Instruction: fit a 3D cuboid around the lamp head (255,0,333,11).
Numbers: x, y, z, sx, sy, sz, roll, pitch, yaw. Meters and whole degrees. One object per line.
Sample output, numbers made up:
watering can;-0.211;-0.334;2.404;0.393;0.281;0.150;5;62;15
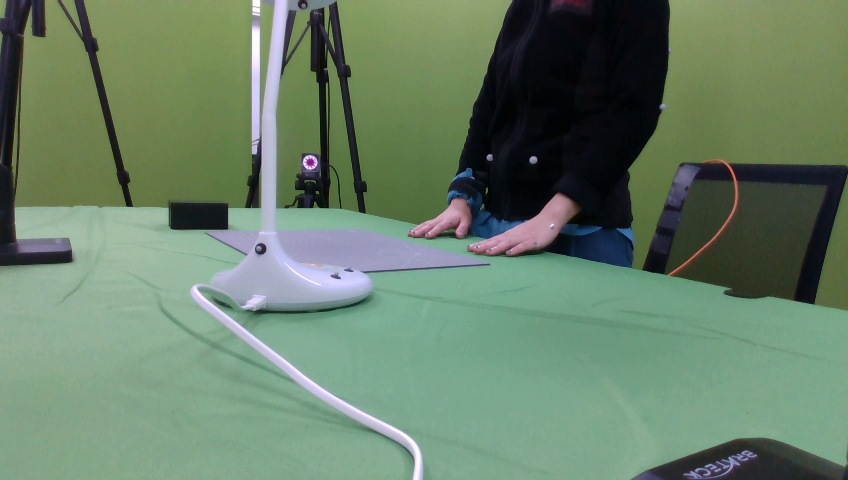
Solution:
lamp head;-0.141;-0.318;0.630;0.113;0.112;0.123;1;-32;-9

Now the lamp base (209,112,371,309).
lamp base;-0.133;-0.032;0.594;0.160;0.180;0.179;2;10;3
